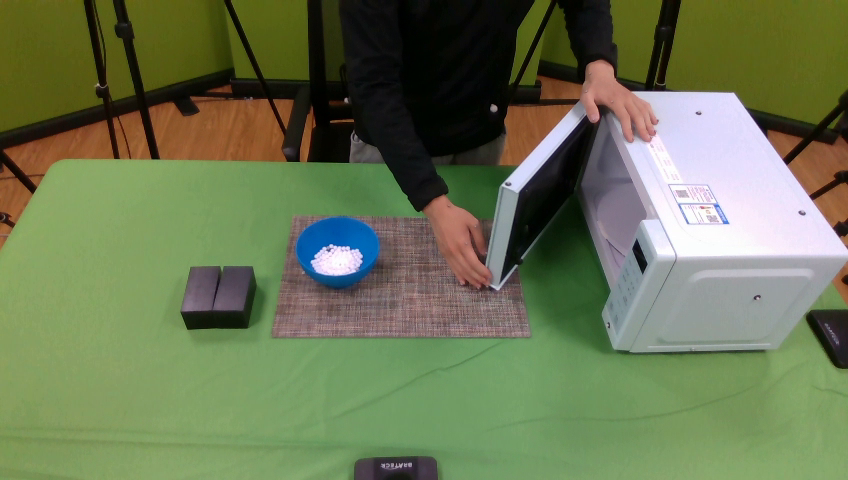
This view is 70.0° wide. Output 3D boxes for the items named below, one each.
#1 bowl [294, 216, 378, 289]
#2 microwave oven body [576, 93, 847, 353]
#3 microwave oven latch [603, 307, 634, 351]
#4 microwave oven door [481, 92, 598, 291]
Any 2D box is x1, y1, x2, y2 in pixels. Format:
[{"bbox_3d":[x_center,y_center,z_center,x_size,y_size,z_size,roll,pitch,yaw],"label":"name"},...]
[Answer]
[{"bbox_3d":[-0.158,0.036,1.110,0.151,0.077,0.150,3,45,-2],"label":"bowl"},{"bbox_3d":[0.475,-0.041,1.109,0.326,0.261,0.438,-1,45,-4],"label":"microwave oven body"},{"bbox_3d":[0.332,0.153,1.044,0.030,0.029,0.078,0,45,-3],"label":"microwave oven latch"},{"bbox_3d":[0.223,-0.099,1.139,0.039,0.245,0.355,27,50,21],"label":"microwave oven door"}]
